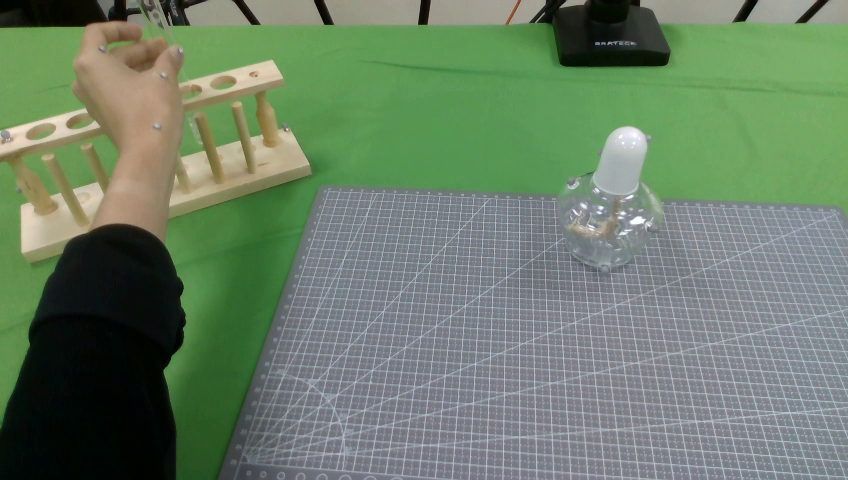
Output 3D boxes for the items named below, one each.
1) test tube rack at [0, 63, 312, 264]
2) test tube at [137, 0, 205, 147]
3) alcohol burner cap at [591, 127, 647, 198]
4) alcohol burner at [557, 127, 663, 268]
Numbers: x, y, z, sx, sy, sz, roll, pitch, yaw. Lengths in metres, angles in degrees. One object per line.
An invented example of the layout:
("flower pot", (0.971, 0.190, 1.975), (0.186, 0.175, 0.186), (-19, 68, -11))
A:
("test tube rack", (-0.229, -0.069, 0.520), (0.243, 0.086, 0.066), (-20, 49, -16))
("test tube", (-0.204, -0.142, 0.497), (0.017, 0.152, 0.017), (-5, 40, 5))
("alcohol burner cap", (0.139, -0.057, 0.425), (0.034, 0.048, 0.033), (1, 46, -1))
("alcohol burner", (0.140, -0.035, 0.447), (0.078, 0.120, 0.077), (0, 48, 1))
